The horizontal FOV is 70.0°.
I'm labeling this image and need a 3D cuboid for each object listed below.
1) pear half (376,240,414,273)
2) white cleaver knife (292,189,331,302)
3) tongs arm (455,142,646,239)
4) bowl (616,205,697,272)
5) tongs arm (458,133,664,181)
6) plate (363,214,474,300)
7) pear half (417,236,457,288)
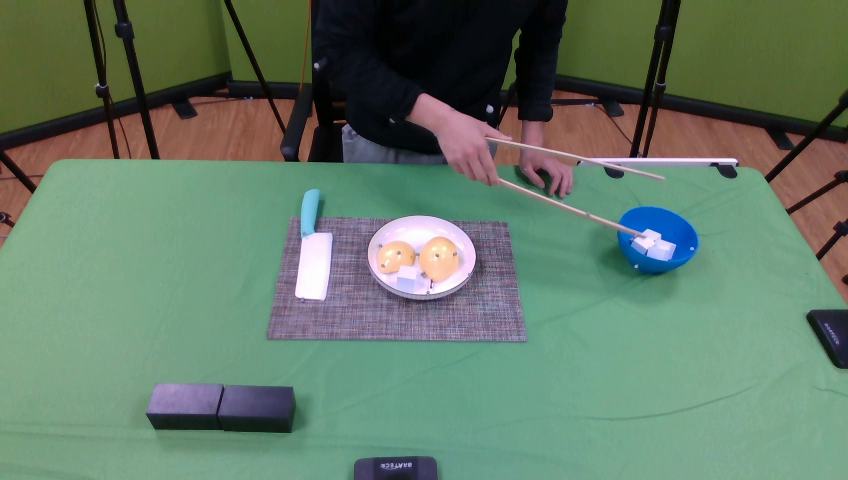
[{"bbox_3d":[-0.058,0.026,1.146,0.070,0.031,0.088,22,43,22],"label":"pear half"},{"bbox_3d":[-0.215,0.006,1.178,0.066,0.021,0.284,5,49,-12],"label":"white cleaver knife"},{"bbox_3d":[0.233,-0.091,1.120,0.385,0.026,0.050,20,87,0],"label":"tongs arm"},{"bbox_3d":[0.443,0.010,1.183,0.151,0.077,0.150,2,46,-2],"label":"bowl"},{"bbox_3d":[0.253,-0.151,1.124,0.388,0.028,0.028,12,91,-1],"label":"tongs arm"},{"bbox_3d":[-0.010,0.036,1.146,0.208,0.039,0.206,3,46,-2],"label":"plate"},{"bbox_3d":[0.022,0.039,1.127,0.076,0.056,0.109,6,50,7],"label":"pear half"}]
